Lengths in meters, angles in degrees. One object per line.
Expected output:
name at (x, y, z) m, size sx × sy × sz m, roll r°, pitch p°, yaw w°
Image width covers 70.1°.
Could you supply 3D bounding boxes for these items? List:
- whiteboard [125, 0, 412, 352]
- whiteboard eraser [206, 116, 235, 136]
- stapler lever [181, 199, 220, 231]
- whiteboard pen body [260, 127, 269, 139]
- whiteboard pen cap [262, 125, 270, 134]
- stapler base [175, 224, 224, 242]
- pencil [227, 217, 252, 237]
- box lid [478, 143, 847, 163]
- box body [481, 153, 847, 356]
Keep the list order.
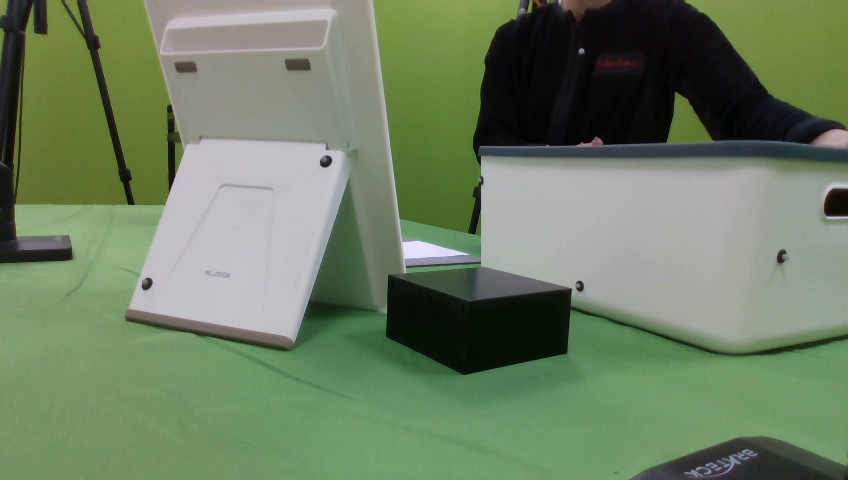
whiteboard at (-0.151, -0.049, 0.471) m, size 0.216 × 0.305 × 0.144 m, roll 6°, pitch 27°, yaw 24°
whiteboard eraser at (-0.450, -0.252, 1.335) m, size 0.056 × 0.042 × 0.112 m, roll 1°, pitch 7°, yaw -22°
stapler lever at (-0.346, -0.040, 0.942) m, size 0.027 × 0.040 × 0.118 m, roll 1°, pitch 8°, yaw -3°
whiteboard pen body at (-0.366, -0.247, 1.392) m, size 0.017 × 0.017 × 0.140 m, roll 0°, pitch 4°, yaw -17°
whiteboard pen cap at (-0.349, -0.244, 1.336) m, size 0.018 × 0.018 × 0.033 m, roll 0°, pitch 2°, yaw -17°
stapler base at (-0.348, -0.014, 0.947) m, size 0.041 × 0.024 × 0.130 m, roll 1°, pitch 7°, yaw -3°
pencil at (-0.333, -0.024, 1.092) m, size 0.012 × 0.012 × 0.193 m, roll 2°, pitch 10°, yaw -5°
box lid at (0.256, -0.084, 0.628) m, size 0.265 × 0.015 × 0.369 m, roll -2°, pitch 8°, yaw -29°
box body at (0.252, -0.011, 0.639) m, size 0.255 × 0.160 × 0.362 m, roll -1°, pitch 8°, yaw -30°
